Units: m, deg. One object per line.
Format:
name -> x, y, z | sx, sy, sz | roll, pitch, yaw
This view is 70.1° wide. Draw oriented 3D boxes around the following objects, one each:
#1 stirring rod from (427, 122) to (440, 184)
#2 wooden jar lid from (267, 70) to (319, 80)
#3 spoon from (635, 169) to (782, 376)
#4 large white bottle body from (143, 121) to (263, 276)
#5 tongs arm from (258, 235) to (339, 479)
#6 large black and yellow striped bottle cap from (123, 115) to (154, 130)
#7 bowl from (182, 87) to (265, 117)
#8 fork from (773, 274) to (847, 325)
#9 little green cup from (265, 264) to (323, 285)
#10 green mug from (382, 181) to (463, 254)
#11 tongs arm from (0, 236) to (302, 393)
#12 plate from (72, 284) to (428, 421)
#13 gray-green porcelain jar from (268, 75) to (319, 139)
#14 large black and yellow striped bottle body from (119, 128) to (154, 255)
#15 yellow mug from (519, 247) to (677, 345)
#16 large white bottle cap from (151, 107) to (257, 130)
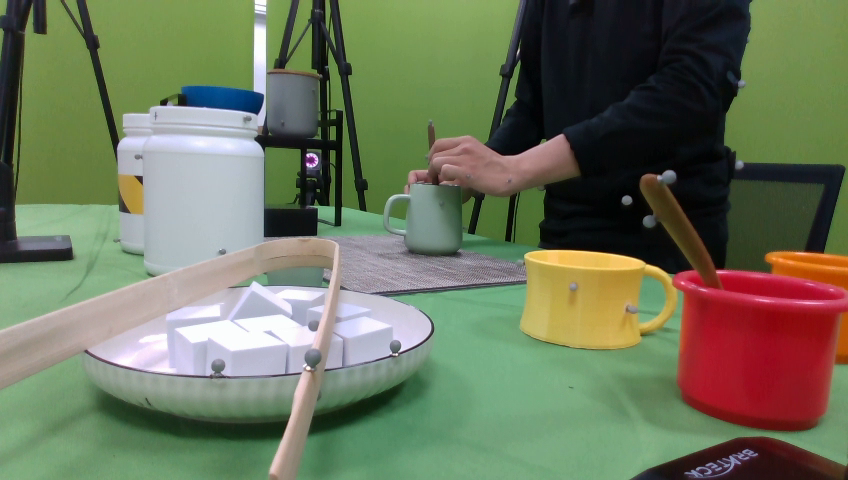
stirring rod -> 0.019, -0.088, 0.905 | 0.006, 0.176, 0.014 | -10, 7, -33
wooden jar lid -> -0.275, -0.339, 1.271 | 0.108, 0.020, 0.108 | 5, 6, 0
spoon -> 0.161, 0.026, 0.346 | 0.041, 0.194, 0.021 | 10, 56, 53
large white bottle body -> -0.254, -0.054, 0.702 | 0.131, 0.184, 0.130 | 2, 8, 0
tongs arm -> -0.074, 0.040, 0.345 | 0.051, 0.026, 0.384 | -1, 10, -3
large black and yellow striped bottle cap -> -0.353, -0.159, 0.838 | 0.115, 0.019, 0.115 | 2, 6, 0
bowl -> -0.383, -0.244, 1.158 | 0.151, 0.077, 0.151 | 2, 7, 0
fork -> 0.332, 0.018, 0.443 | 0.028, 0.018, 0.207 | -1, -36, -14
little green cup -> -0.134, 0.033, 0.627 | 0.061, 0.038, 0.061 | 3, 6, 0
green mug -> -0.001, -0.036, 0.922 | 0.126, 0.105, 0.092 | 0, 8, -16
tongs arm -> -0.157, 0.038, 0.347 | 0.028, 0.028, 0.388 | -3, 8, 11
plate -> -0.102, 0.067, 0.381 | 0.208, 0.039, 0.207 | 3, 7, 0
gray-green porcelain jar -> -0.277, -0.279, 1.280 | 0.106, 0.126, 0.106 | 2, 8, 0
large black and yellow striped bottle body -> -0.355, -0.076, 0.850 | 0.131, 0.184, 0.130 | 2, 8, 0
yellow mug -> 0.148, 0.045, 0.513 | 0.131, 0.064, 0.100 | 3, 7, 0
large white bottle cap -> -0.250, -0.138, 0.692 | 0.115, 0.018, 0.115 | 3, 7, 0
